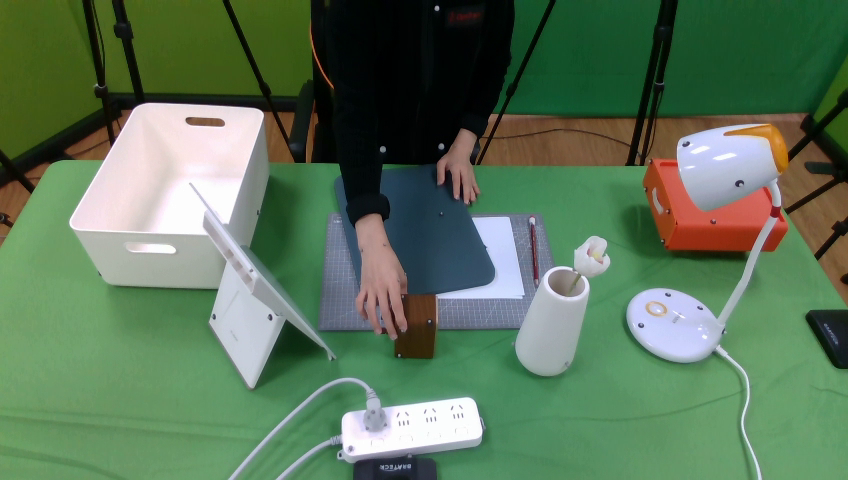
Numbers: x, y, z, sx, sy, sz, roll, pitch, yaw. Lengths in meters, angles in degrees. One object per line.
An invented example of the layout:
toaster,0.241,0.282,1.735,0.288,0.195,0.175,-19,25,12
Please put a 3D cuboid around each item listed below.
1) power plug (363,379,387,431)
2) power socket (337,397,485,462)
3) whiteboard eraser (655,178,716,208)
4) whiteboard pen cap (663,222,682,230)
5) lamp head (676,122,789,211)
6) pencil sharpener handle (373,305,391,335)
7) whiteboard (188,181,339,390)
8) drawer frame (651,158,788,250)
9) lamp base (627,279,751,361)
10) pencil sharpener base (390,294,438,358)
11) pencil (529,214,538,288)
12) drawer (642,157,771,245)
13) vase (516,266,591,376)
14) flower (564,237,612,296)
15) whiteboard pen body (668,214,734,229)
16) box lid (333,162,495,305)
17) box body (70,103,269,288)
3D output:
power plug,-0.072,0.252,0.910,0.035,0.053,0.072,3,45,-1
power socket,-0.018,0.285,0.915,0.227,0.033,0.071,-5,46,-8
whiteboard eraser,0.538,-0.095,1.251,0.113,0.042,0.055,4,52,-10
whiteboard pen cap,0.487,-0.027,1.188,0.033,0.018,0.018,0,46,-16
lamp head,0.423,-0.104,0.819,0.122,0.113,0.112,-13,33,40
pencil sharpener handle,-0.068,0.133,0.989,0.030,0.068,0.036,1,46,-2
whiteboard,-0.292,0.096,0.929,0.144,0.307,0.216,-38,57,-10
drawer frame,0.571,-0.074,1.213,0.214,0.083,0.200,1,46,0
lamp base,0.459,0.100,1.027,0.178,0.181,0.160,27,51,17
pencil sharpener base,-0.018,0.143,1.000,0.077,0.107,0.061,1,47,-2
pencil,0.218,0.019,1.202,0.012,0.012,0.193,5,48,1
drawer,0.564,-0.075,1.210,0.212,0.073,0.193,3,45,-1
vase,0.208,0.132,0.964,0.098,0.201,0.097,3,46,-3
flower,0.206,0.088,0.893,0.038,0.363,0.044,-17,67,-9
whiteboard pen body,0.547,-0.035,1.200,0.141,0.017,0.017,-8,48,-9
box lid,-0.030,-0.028,1.227,0.264,0.015,0.369,-9,47,-13
box body,-0.450,-0.087,1.148,0.254,0.161,0.361,2,46,-2
